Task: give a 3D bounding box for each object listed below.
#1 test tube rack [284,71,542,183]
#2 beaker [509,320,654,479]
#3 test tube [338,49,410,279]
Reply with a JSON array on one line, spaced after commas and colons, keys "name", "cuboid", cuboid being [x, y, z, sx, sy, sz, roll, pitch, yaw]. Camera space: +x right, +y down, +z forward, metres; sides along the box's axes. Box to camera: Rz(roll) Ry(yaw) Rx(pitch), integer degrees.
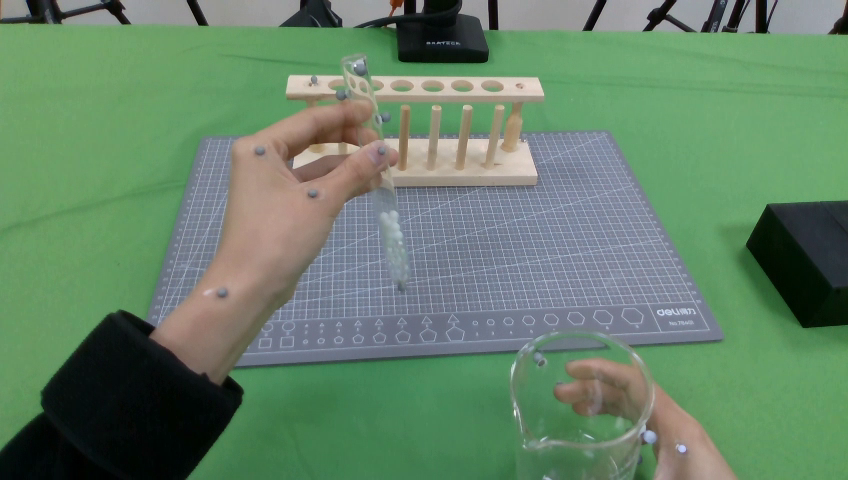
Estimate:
[{"name": "test tube rack", "cuboid": [-0.010, -0.111, 0.594, 0.243, 0.086, 0.066, -1, 44, -5]}, {"name": "beaker", "cuboid": [0.084, 0.109, 0.347, 0.084, 0.101, 0.073, -37, 48, -28]}, {"name": "test tube", "cuboid": [-0.028, -0.039, 0.368, 0.017, 0.151, 0.017, -8, 31, 5]}]
